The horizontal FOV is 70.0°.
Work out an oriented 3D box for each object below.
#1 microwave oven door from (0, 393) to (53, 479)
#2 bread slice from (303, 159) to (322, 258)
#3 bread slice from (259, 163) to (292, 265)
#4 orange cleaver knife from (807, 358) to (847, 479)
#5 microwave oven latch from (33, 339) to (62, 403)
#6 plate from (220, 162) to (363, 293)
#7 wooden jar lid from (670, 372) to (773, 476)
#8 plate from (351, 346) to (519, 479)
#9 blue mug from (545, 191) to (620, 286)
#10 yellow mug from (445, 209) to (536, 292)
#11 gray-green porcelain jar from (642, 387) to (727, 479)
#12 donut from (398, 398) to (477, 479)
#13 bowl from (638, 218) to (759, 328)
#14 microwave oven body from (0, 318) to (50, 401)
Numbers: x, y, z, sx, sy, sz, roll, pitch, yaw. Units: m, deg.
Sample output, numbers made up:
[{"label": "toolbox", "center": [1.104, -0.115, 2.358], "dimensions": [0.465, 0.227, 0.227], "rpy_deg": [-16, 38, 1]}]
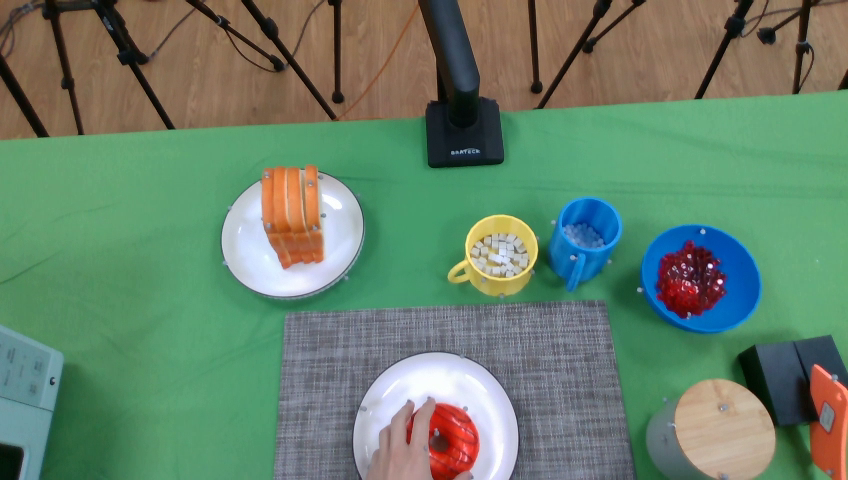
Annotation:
[{"label": "microwave oven door", "center": [-0.498, 0.329, 0.612], "dimensions": [0.039, 0.245, 0.353], "rpy_deg": [-3, 66, 1]}, {"label": "bread slice", "center": [-0.154, -0.046, 0.840], "dimensions": [0.019, 0.132, 0.104], "rpy_deg": [-4, 67, -8]}, {"label": "bread slice", "center": [-0.204, -0.043, 0.839], "dimensions": [0.018, 0.135, 0.106], "rpy_deg": [-5, 62, -2]}, {"label": "orange cleaver knife", "center": [0.481, 0.249, 0.721], "dimensions": [0.012, 0.077, 0.211], "rpy_deg": [-6, 96, 0]}, {"label": "microwave oven latch", "center": [-0.500, 0.171, 0.793], "dimensions": [0.030, 0.030, 0.078], "rpy_deg": [0, 67, 2]}, {"label": "plate", "center": [-0.191, -0.017, 0.888], "dimensions": [0.207, 0.039, 0.206], "rpy_deg": [-1, 66, 2]}, {"label": "wooden jar lid", "center": [0.319, 0.199, 0.657], "dimensions": [0.108, 0.021, 0.107], "rpy_deg": [0, 67, 0]}, {"label": "plate", "center": [0.014, 0.239, 0.763], "dimensions": [0.209, 0.038, 0.207], "rpy_deg": [-1, 66, 2]}, {"label": "blue mug", "center": [0.210, 0.007, 0.826], "dimensions": [0.082, 0.106, 0.116], "rpy_deg": [15, 67, 9]}, {"label": "yellow mug", "center": [0.090, 0.022, 0.845], "dimensions": [0.131, 0.064, 0.099], "rpy_deg": [-24, 67, -7]}, {"label": "gray-green porcelain jar", "center": [0.322, 0.225, 0.714], "dimensions": [0.106, 0.127, 0.105], "rpy_deg": [-1, 66, 2]}, {"label": "donut", "center": [0.017, 0.245, 0.748], "dimensions": [0.099, 0.048, 0.098], "rpy_deg": [0, 68, 1]}, {"label": "bowl", "center": [0.356, 0.054, 0.815], "dimensions": [0.151, 0.077, 0.150], "rpy_deg": [-1, 66, 2]}, {"label": "microwave oven body", "center": [-0.645, 0.299, 0.636], "dimensions": [0.326, 0.262, 0.438], "rpy_deg": [-3, 67, 1]}]
